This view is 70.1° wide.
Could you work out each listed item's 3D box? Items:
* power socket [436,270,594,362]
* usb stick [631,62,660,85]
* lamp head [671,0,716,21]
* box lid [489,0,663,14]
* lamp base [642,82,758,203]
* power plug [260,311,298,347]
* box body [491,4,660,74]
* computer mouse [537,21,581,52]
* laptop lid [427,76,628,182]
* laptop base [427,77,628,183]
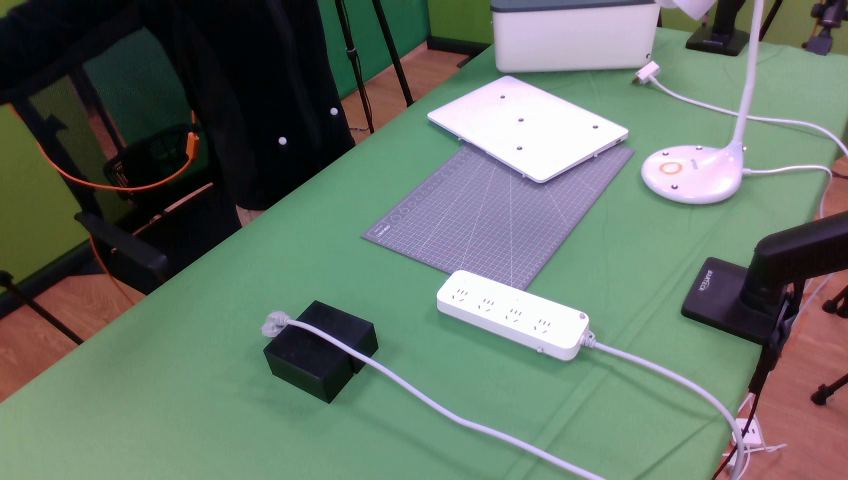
[{"bbox_3d":[0.118,0.101,0.832,0.225,0.033,0.072,19,48,27],"label":"power socket"},{"bbox_3d":[0.480,-0.358,1.317,0.059,0.022,0.027,-35,56,14],"label":"usb stick"},{"bbox_3d":[0.375,-0.373,0.807,0.122,0.113,0.112,-40,27,32],"label":"lamp head"},{"bbox_3d":[0.340,-0.575,1.380,0.371,0.015,0.262,0,41,9],"label":"box lid"},{"bbox_3d":[0.464,-0.174,0.992,0.179,0.181,0.159,-5,41,-2],"label":"lamp base"},{"bbox_3d":[-0.197,0.127,0.822,0.035,0.053,0.072,-17,23,-30],"label":"power plug"},{"bbox_3d":[0.346,-0.520,1.429,0.363,0.161,0.253,0,41,9],"label":"box body"},{"bbox_3d":[0.335,-0.503,1.487,0.118,0.041,0.062,22,18,-28],"label":"computer mouse"},{"bbox_3d":[0.196,-0.237,1.213,0.242,0.013,0.353,-29,44,-21],"label":"laptop lid"},{"bbox_3d":[0.199,-0.229,1.222,0.236,0.023,0.351,-31,45,-22],"label":"laptop base"}]
